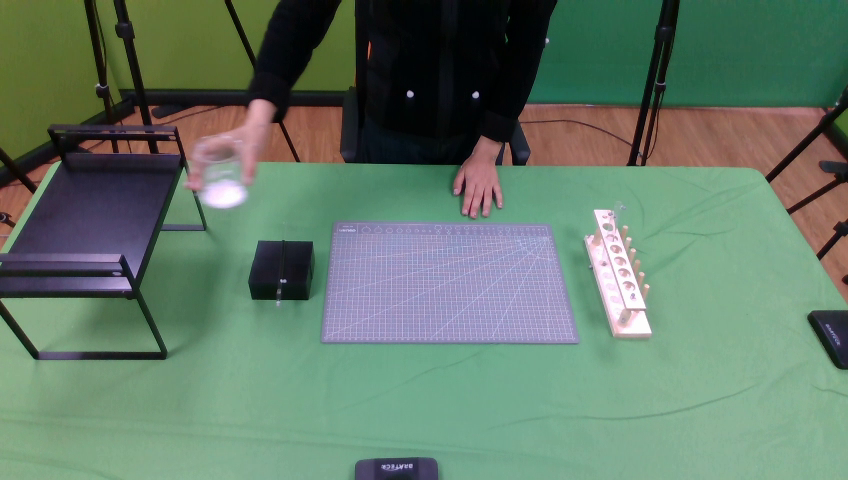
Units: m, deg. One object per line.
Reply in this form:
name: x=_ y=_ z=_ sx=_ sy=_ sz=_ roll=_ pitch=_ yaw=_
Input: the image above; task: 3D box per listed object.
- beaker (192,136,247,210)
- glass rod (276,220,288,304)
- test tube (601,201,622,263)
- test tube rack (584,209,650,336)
beaker: x=-0.318 y=-0.105 z=0.962 sx=0.073 sy=0.101 sz=0.084 roll=33 pitch=47 yaw=24
glass rod: x=-0.255 y=0.036 z=1.086 sx=0.008 sy=0.008 sz=0.198 roll=-1 pitch=46 yaw=-6
test tube: x=0.346 y=-0.012 z=1.123 sx=0.017 sy=0.151 sz=0.017 roll=-2 pitch=45 yaw=2
test tube rack: x=0.365 y=0.056 z=1.129 sx=0.067 sy=0.085 sz=0.240 roll=1 pitch=46 yaw=-3
